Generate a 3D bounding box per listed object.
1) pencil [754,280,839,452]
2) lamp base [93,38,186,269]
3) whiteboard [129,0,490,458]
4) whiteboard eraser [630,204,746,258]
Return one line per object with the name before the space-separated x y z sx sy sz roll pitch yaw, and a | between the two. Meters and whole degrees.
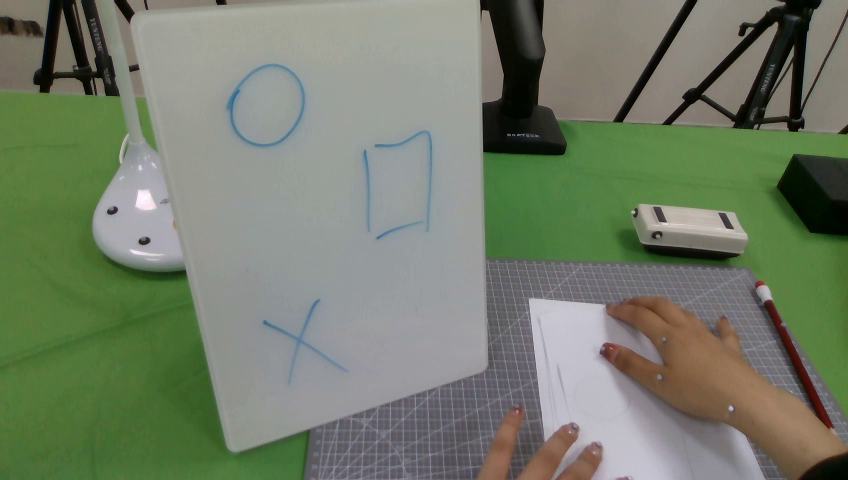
pencil | 0.342 0.107 0.560 0.012 0.012 0.192 6 42 0
lamp base | -0.258 -0.090 0.585 0.177 0.182 0.160 29 44 28
whiteboard | -0.078 -0.026 0.480 0.218 0.307 0.142 -12 24 -20
whiteboard eraser | 0.291 -0.009 0.674 0.113 0.042 0.055 6 40 -1
